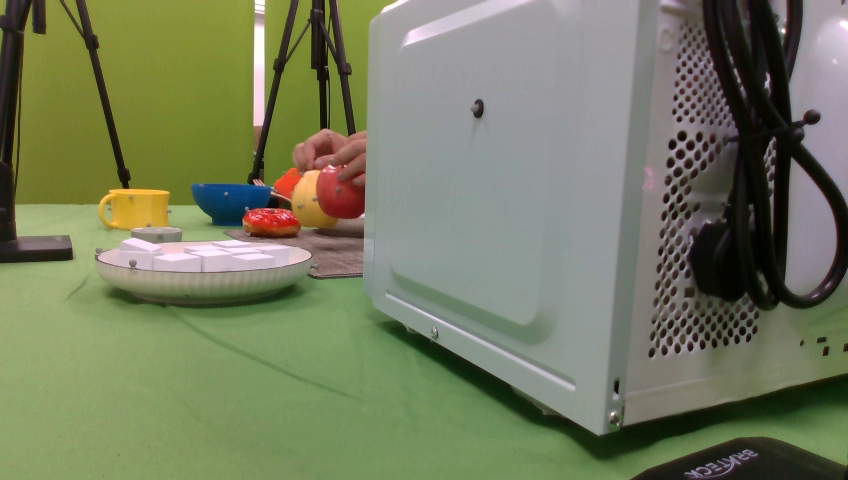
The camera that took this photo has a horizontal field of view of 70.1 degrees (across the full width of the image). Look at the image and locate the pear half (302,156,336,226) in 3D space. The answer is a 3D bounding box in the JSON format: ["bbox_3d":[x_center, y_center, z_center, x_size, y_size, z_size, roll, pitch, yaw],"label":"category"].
[{"bbox_3d":[-0.159,-0.076,0.941,0.056,0.110,0.076,-2,10,-4],"label":"pear half"}]

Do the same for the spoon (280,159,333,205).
[{"bbox_3d":[-0.316,-0.159,1.639,0.194,0.022,0.041,-49,32,-20],"label":"spoon"}]

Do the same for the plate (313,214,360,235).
[{"bbox_3d":[-0.123,-0.037,1.149,0.209,0.038,0.209,2,7,0],"label":"plate"}]

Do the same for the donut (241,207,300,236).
[{"bbox_3d":[-0.263,-0.031,1.039,0.099,0.048,0.099,5,9,0],"label":"donut"}]

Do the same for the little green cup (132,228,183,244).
[{"bbox_3d":[-0.342,0.006,0.779,0.061,0.038,0.061,2,8,0],"label":"little green cup"}]

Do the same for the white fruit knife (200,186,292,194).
[{"bbox_3d":[-0.399,-0.111,1.368,0.208,0.016,0.027,-4,-19,-29],"label":"white fruit knife"}]

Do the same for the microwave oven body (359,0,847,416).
[{"bbox_3d":[0.211,-0.047,0.474,0.444,0.260,0.324,-1,7,-28],"label":"microwave oven body"}]

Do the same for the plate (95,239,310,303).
[{"bbox_3d":[-0.224,0.031,0.629,0.208,0.039,0.207,2,8,0],"label":"plate"}]

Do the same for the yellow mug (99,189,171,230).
[{"bbox_3d":[-0.519,-0.055,1.080,0.099,0.064,0.131,7,10,26],"label":"yellow mug"}]

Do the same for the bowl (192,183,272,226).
[{"bbox_3d":[-0.381,-0.071,1.202,0.151,0.077,0.151,3,7,0],"label":"bowl"}]

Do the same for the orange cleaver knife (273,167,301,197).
[{"bbox_3d":[-0.237,-0.087,1.358,0.211,0.077,0.012,32,5,-3],"label":"orange cleaver knife"}]

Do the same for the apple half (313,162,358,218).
[{"bbox_3d":[-0.127,-0.071,0.843,0.053,0.074,0.080,-2,19,-23],"label":"apple half"}]

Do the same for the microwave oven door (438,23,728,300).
[{"bbox_3d":[0.181,-0.072,0.621,0.358,0.243,0.039,-2,8,-29],"label":"microwave oven door"}]

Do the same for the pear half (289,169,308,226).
[{"bbox_3d":[-0.194,-0.066,0.941,0.031,0.088,0.070,-2,11,-5],"label":"pear half"}]

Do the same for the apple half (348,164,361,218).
[{"bbox_3d":[-0.092,-0.070,0.860,0.033,0.081,0.081,-2,9,-23],"label":"apple half"}]

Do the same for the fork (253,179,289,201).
[{"bbox_3d":[-0.294,-0.084,1.293,0.206,0.018,0.028,29,14,26],"label":"fork"}]

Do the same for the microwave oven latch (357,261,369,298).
[{"bbox_3d":[-0.019,0.033,0.531,0.079,0.029,0.030,-1,7,-27],"label":"microwave oven latch"}]
